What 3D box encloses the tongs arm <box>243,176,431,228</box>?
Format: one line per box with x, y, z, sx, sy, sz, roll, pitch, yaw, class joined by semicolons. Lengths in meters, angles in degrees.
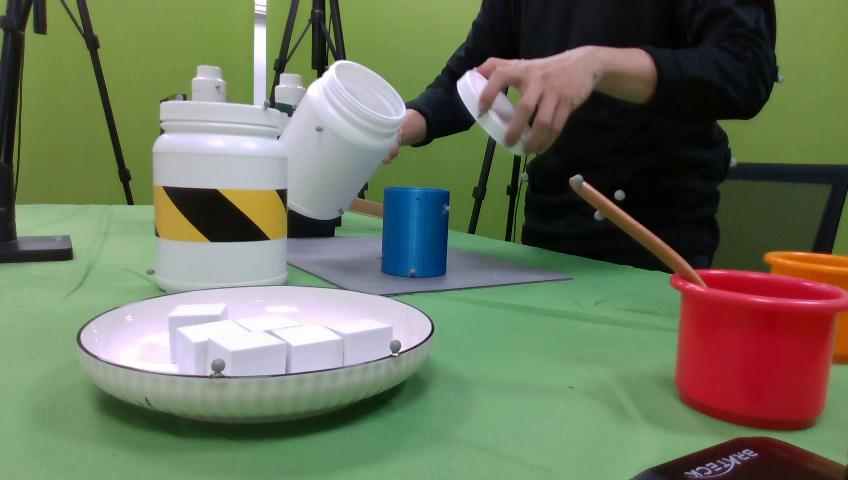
-0.166;-0.074;1.216;0.389;0.027;0.028;11;-6;-24;tongs arm

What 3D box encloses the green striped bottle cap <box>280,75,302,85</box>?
-0.267;-0.320;1.216;0.044;0.020;0.044;2;8;0;green striped bottle cap

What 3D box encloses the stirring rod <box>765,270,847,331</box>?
0.352;0.020;0.484;0.176;0.006;0.014;-40;-7;13;stirring rod

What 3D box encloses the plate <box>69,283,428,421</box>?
-0.102;0.066;0.380;0.208;0.039;0.207;2;7;0;plate

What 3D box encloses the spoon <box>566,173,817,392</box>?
0.161;0.024;0.370;0.193;0.021;0.042;47;18;3;spoon

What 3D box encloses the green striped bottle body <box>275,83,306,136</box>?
-0.269;-0.269;1.221;0.063;0.119;0.063;2;7;0;green striped bottle body

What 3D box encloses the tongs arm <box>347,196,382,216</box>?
-0.122;-0.066;1.147;0.387;0.026;0.050;11;-3;-38;tongs arm

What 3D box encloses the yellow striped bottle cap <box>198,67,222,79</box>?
-0.412;-0.320;1.162;0.044;0.018;0.044;0;5;0;yellow striped bottle cap

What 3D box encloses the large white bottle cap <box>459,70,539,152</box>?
0.087;-0.150;0.700;0.018;0.114;0.115;-44;-18;29;large white bottle cap

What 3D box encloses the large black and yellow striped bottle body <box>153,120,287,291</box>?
-0.208;-0.042;0.626;0.131;0.184;0.130;2;7;0;large black and yellow striped bottle body

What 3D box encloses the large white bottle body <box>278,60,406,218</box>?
-0.117;-0.133;0.806;0.131;0.184;0.130;28;34;-21;large white bottle body

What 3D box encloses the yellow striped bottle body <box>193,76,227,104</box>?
-0.414;-0.268;1.169;0.063;0.120;0.063;2;7;0;yellow striped bottle body

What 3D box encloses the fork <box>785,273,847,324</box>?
0.332;0.018;0.444;0.028;0.018;0.207;-2;-35;-15;fork

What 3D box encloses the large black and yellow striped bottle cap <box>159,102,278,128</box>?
-0.207;-0.125;0.615;0.115;0.019;0.115;2;6;0;large black and yellow striped bottle cap

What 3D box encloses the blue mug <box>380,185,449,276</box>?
-0.019;-0.016;0.764;0.083;0.106;0.116;-1;8;-25;blue mug
